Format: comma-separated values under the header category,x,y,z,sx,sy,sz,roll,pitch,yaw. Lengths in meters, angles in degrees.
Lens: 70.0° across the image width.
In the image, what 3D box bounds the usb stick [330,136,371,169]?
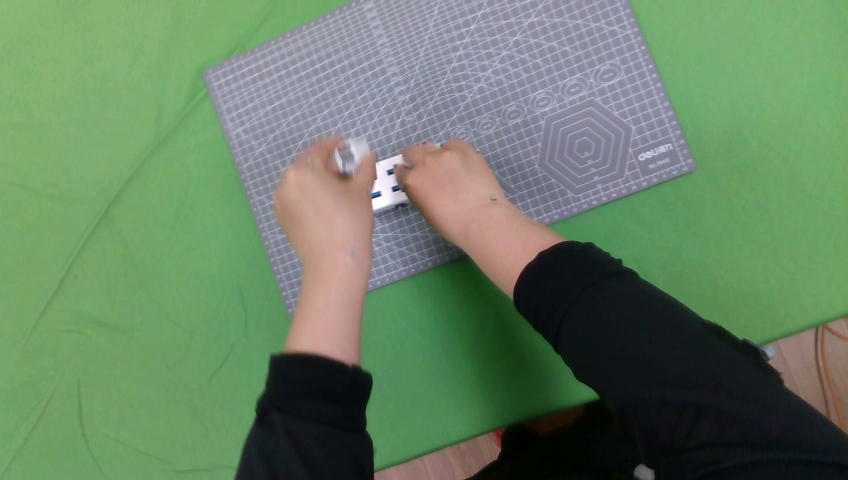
category,x,y,z,sx,sy,sz,roll,pitch,yaw
usb stick,-0.065,-0.080,0.555,0.021,0.059,0.027,-20,92,12

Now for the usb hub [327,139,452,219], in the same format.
category,x,y,z,sx,sy,sz,roll,pitch,yaw
usb hub,-0.037,-0.064,0.634,0.125,0.025,0.049,-17,86,10
